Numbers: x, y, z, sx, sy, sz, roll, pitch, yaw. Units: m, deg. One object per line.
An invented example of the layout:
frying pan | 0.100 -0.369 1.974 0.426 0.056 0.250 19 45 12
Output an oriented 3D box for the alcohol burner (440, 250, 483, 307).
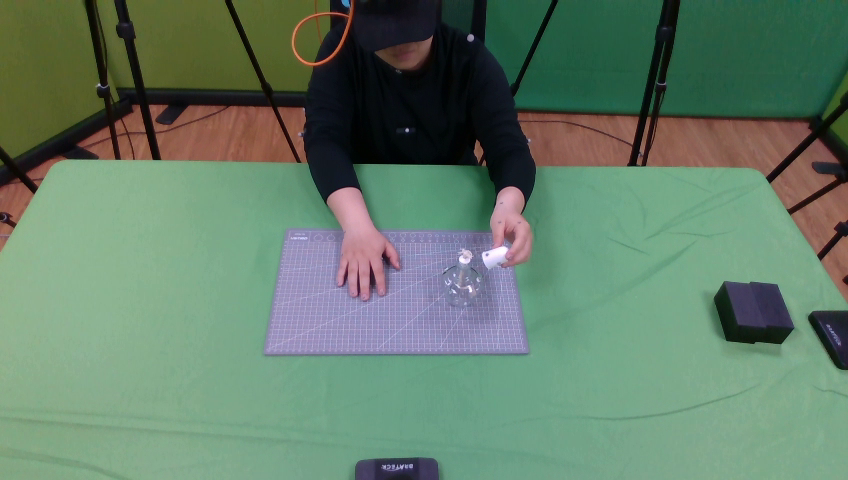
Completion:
alcohol burner | 0.068 0.064 1.076 0.078 0.120 0.077 1 45 -1

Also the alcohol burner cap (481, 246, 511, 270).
alcohol burner cap | 0.123 0.028 1.024 0.048 0.034 0.033 -24 40 26
